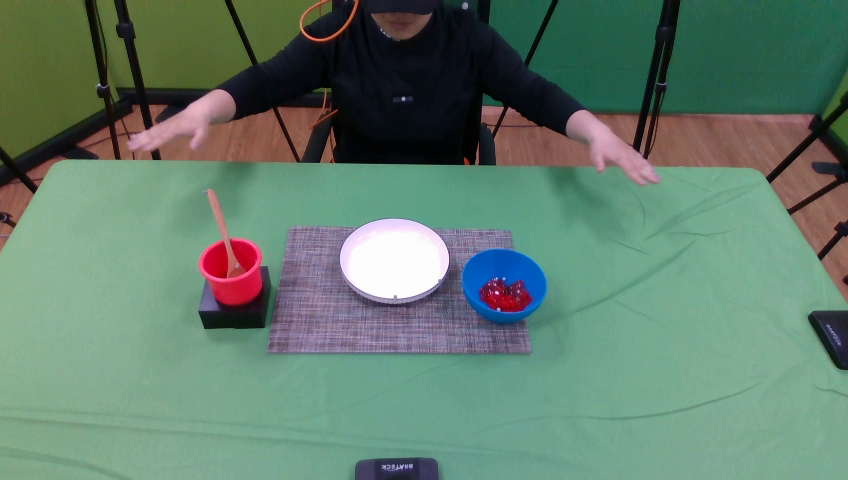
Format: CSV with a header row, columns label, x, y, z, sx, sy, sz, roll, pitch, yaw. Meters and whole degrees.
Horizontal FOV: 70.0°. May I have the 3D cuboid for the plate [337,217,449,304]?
label,x,y,z,sx,sy,sz,roll,pitch,yaw
plate,-0.058,0.042,1.136,0.208,0.039,0.206,2,46,-2

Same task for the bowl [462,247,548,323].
label,x,y,z,sx,sy,sz,roll,pitch,yaw
bowl,0.138,0.093,1.072,0.151,0.077,0.150,2,46,-2

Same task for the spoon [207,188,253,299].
label,x,y,z,sx,sy,sz,roll,pitch,yaw
spoon,-0.328,0.005,1.013,0.042,0.021,0.193,-16,94,-19
